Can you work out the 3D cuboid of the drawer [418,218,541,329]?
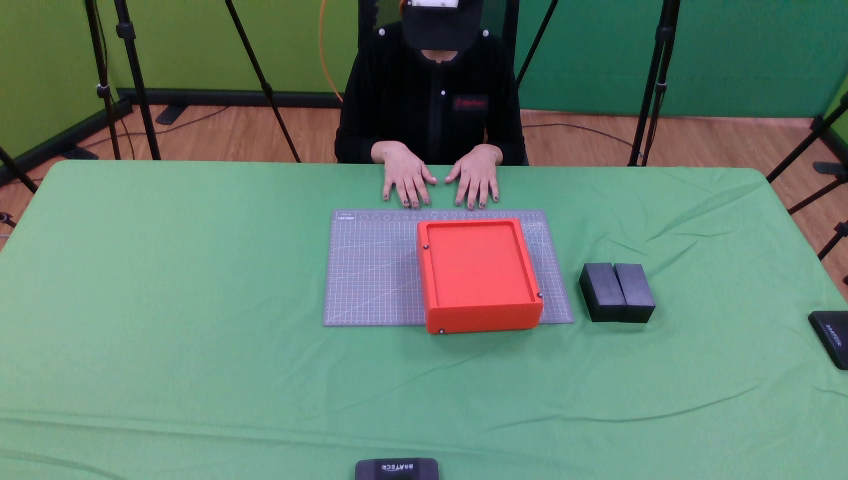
[{"bbox_3d":[0.094,0.057,1.107,0.195,0.073,0.210,-1,47,-6],"label":"drawer"}]

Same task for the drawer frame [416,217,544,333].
[{"bbox_3d":[0.094,0.058,1.104,0.202,0.083,0.212,-2,47,-7],"label":"drawer frame"}]

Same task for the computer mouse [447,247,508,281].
[{"bbox_3d":[0.101,0.046,1.135,0.117,0.041,0.062,4,42,-9],"label":"computer mouse"}]
